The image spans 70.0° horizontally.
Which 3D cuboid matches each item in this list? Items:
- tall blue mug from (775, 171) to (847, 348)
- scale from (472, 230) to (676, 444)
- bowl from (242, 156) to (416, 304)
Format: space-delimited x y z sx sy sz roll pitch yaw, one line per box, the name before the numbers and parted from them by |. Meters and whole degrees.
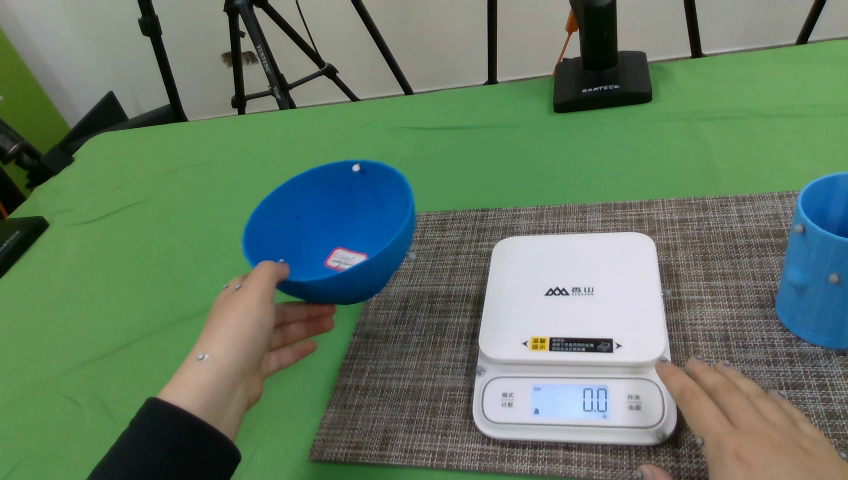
tall blue mug | 0.314 0.022 0.428 0.078 0.109 0.106 -36 43 -22
scale | 0.122 0.070 0.503 0.148 0.032 0.199 -3 43 17
bowl | -0.072 0.003 0.532 0.151 0.077 0.150 -9 44 9
